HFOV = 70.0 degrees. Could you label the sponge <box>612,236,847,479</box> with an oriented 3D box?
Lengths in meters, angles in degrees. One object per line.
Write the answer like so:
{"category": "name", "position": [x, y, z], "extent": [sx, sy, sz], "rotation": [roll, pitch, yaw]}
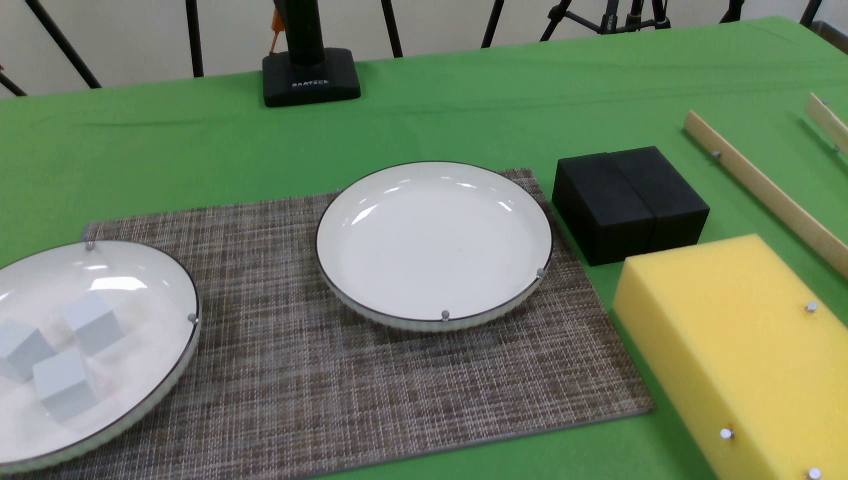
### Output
{"category": "sponge", "position": [0.239, 0.094, 0.433], "extent": [0.118, 0.061, 0.204], "rotation": [-11, 45, -10]}

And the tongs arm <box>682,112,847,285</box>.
{"category": "tongs arm", "position": [0.363, -0.015, 0.571], "extent": [0.028, 0.028, 0.383], "rotation": [-11, 44, -14]}

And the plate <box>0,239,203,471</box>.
{"category": "plate", "position": [-0.273, 0.082, 0.461], "extent": [0.209, 0.038, 0.207], "rotation": [0, 43, 0]}

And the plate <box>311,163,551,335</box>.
{"category": "plate", "position": [0.006, 0.007, 0.540], "extent": [0.208, 0.039, 0.205], "rotation": [0, 43, 0]}

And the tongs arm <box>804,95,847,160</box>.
{"category": "tongs arm", "position": [0.445, -0.027, 0.578], "extent": [0.051, 0.027, 0.380], "rotation": [-4, 44, -2]}
